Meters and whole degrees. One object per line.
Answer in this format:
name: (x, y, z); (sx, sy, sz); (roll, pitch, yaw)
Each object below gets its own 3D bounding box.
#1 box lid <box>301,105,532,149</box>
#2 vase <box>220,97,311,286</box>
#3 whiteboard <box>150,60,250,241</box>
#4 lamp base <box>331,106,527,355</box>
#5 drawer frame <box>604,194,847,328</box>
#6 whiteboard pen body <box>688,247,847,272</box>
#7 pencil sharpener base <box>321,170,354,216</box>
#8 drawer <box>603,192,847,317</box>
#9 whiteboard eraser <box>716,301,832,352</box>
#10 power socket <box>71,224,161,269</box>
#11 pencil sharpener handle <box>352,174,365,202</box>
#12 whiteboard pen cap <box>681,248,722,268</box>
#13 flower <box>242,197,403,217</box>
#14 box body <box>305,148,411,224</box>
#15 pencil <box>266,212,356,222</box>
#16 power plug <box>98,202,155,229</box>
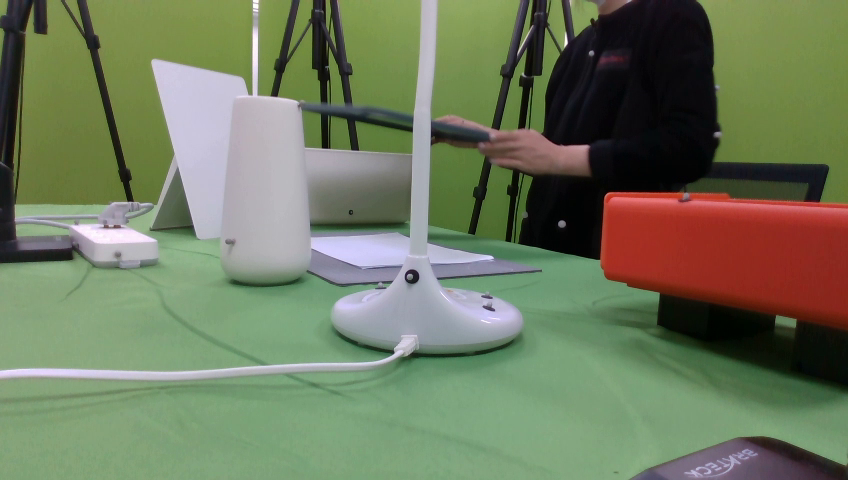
box lid: (-0.013, -0.200, 1.080); (0.374, 0.015, 0.262); (3, 9, -40)
vase: (-0.172, -0.052, 0.662); (0.098, 0.200, 0.098); (3, 9, 0)
whiteboard: (-0.408, -0.139, 1.093); (0.143, 0.305, 0.218); (-15, -1, 26)
lamp base: (0.006, -0.012, 0.478); (0.161, 0.180, 0.179); (2, 10, 2)
drawer frame: (0.298, 0.007, 0.497); (0.203, 0.082, 0.212); (-1, 7, -34)
whiteboard pen body: (0.304, 0.016, 0.520); (0.140, 0.017, 0.017); (3, 7, 26)
pencil sharpener base: (-0.206, -0.112, 1.437); (0.077, 0.107, 0.061); (1, 6, -11)
drawer: (0.293, 0.002, 0.500); (0.195, 0.073, 0.210); (-1, 8, -34)
whiteboard eraser: (0.256, 0.042, 0.472); (0.112, 0.042, 0.056); (43, 19, 30)
power socket: (-0.408, 0.004, 0.793); (0.072, 0.032, 0.225); (-2, 8, -38)
pencil sharpener handle: (-0.156, -0.124, 1.449); (0.031, 0.068, 0.036); (1, 18, -10)
whiteboard pen cap: (0.250, 0.017, 0.544); (0.033, 0.018, 0.018); (2, 7, 25)
flower: (-0.229, -0.067, 1.372); (0.362, 0.038, 0.044); (4, 36, -2)
box body: (-0.230, -0.126, 1.372); (0.366, 0.160, 0.253); (-2, 8, -33)
pencil: (-0.244, -0.049, 1.320); (0.195, 0.012, 0.012); (3, 7, -13)
power plug: (-0.416, -0.027, 0.848); (0.073, 0.052, 0.035); (0, 8, -28)
